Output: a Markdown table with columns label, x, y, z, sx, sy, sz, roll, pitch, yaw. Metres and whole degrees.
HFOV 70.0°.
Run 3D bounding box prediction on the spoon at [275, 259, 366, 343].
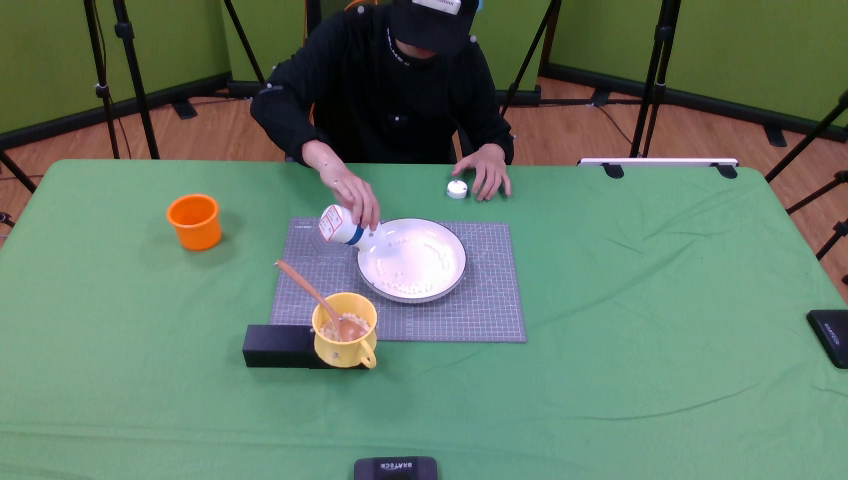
| label | x | y | z | sx | sy | sz | roll | pitch | yaw |
| --- | --- | --- | --- | --- | --- | --- | --- | --- | --- |
| spoon | -0.161 | 0.098 | 0.946 | 0.194 | 0.021 | 0.041 | 48 | 56 | -5 |

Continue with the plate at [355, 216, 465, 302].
| label | x | y | z | sx | sy | sz | roll | pitch | yaw |
| --- | --- | --- | --- | --- | --- | --- | --- | --- | --- |
| plate | -0.027 | 0.039 | 1.144 | 0.208 | 0.039 | 0.206 | 2 | 46 | -2 |

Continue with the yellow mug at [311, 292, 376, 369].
| label | x | y | z | sx | sy | sz | roll | pitch | yaw |
| --- | --- | --- | --- | --- | --- | --- | --- | --- | --- |
| yellow mug | -0.115 | 0.150 | 0.945 | 0.100 | 0.064 | 0.130 | -29 | 56 | -28 |

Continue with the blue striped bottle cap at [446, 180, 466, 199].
| label | x | y | z | sx | sy | sz | roll | pitch | yaw |
| --- | --- | --- | --- | --- | --- | --- | --- | --- | --- |
| blue striped bottle cap | 0.069 | -0.109 | 1.313 | 0.044 | 0.021 | 0.044 | 3 | 42 | -3 |

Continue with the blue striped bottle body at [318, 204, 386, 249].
| label | x | y | z | sx | sy | sz | roll | pitch | yaw |
| --- | --- | --- | --- | --- | --- | --- | --- | --- | --- |
| blue striped bottle body | -0.126 | -0.020 | 1.099 | 0.121 | 0.063 | 0.062 | 18 | 31 | -44 |
